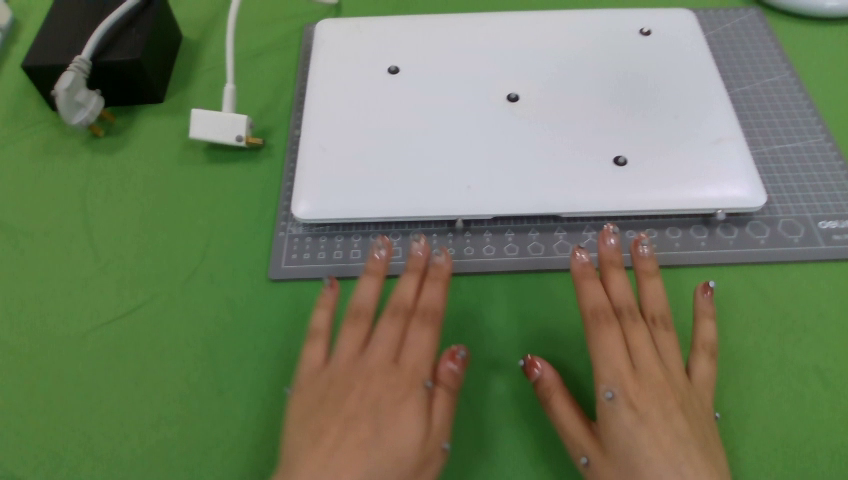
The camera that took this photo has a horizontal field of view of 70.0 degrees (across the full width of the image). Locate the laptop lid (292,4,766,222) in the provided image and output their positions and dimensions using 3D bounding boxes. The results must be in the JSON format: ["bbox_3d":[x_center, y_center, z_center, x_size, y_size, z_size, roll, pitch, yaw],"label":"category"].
[{"bbox_3d":[0.075,-0.116,0.504,0.357,0.013,0.239,0,58,2],"label":"laptop lid"}]

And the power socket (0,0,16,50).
[{"bbox_3d":[-0.449,-0.160,0.561,0.072,0.033,0.224,-4,55,-1],"label":"power socket"}]

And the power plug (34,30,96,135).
[{"bbox_3d":[-0.300,-0.123,0.489,0.035,0.073,0.052,-3,39,40],"label":"power plug"}]

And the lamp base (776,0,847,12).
[{"bbox_3d":[0.400,-0.337,0.559,0.159,0.182,0.178,27,58,20],"label":"lamp base"}]

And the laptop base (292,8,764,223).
[{"bbox_3d":[0.076,-0.111,0.515,0.354,0.023,0.233,-1,59,1],"label":"laptop base"}]

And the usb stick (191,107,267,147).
[{"bbox_3d":[-0.160,-0.092,0.502,0.059,0.021,0.027,10,92,-5],"label":"usb stick"}]
